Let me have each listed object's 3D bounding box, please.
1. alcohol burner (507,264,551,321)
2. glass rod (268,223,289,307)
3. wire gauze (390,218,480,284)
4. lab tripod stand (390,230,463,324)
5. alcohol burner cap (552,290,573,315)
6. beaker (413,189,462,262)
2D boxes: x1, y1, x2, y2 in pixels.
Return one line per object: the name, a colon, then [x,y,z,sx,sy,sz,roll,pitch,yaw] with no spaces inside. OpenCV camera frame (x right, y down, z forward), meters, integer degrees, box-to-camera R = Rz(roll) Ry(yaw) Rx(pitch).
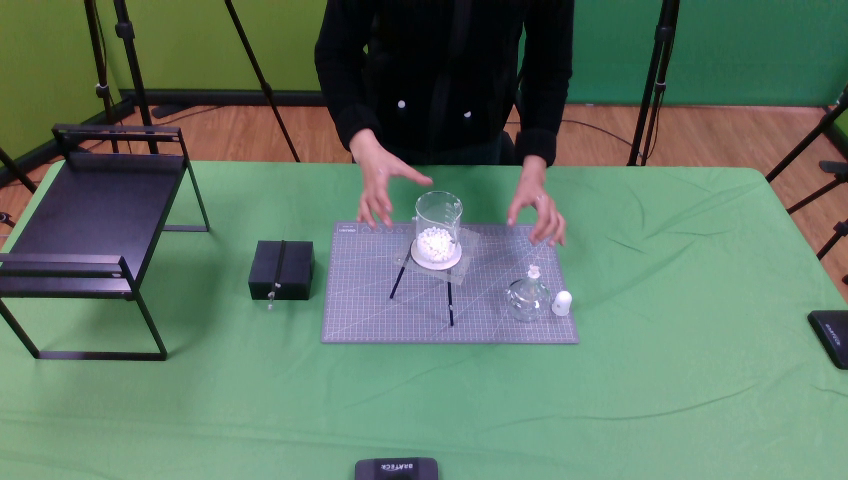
alcohol burner: [0.185,0.086,1.056,0.078,0.120,0.077,1,46,0]
glass rod: [-0.259,0.041,1.080,0.008,0.008,0.198,2,46,-2]
wire gauze: [0.020,0.013,1.010,0.125,0.011,0.121,14,46,14]
lab tripod stand: [0.014,0.060,1.056,0.148,0.132,0.147,1,48,-1]
alcohol burner cap: [0.251,0.109,1.088,0.034,0.048,0.033,2,46,-2]
beaker: [0.022,-0.018,0.973,0.074,0.101,0.083,-19,50,-19]
